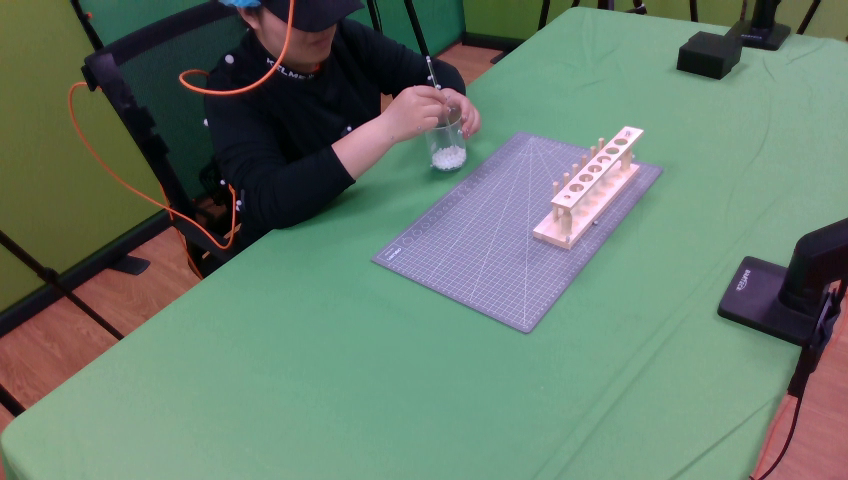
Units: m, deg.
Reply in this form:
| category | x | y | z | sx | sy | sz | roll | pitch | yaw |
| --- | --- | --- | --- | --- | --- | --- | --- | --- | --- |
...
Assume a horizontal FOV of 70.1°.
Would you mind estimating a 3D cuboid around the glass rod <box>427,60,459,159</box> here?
| category | x | y | z | sx | sy | sz | roll | pitch | yaw |
| --- | --- | --- | --- | --- | --- | --- | --- | --- | --- |
| glass rod | 0.035 | -0.228 | 1.080 | 0.008 | 0.201 | 0.008 | -13 | 38 | 10 |

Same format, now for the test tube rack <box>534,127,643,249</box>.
| category | x | y | z | sx | sy | sz | roll | pitch | yaw |
| --- | --- | --- | --- | --- | --- | --- | --- | --- | --- |
| test tube rack | 0.271 | -0.094 | 0.990 | 0.066 | 0.085 | 0.243 | 23 | 50 | 33 |

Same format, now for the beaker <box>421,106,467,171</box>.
| category | x | y | z | sx | sy | sz | roll | pitch | yaw |
| --- | --- | --- | --- | --- | --- | --- | --- | --- | --- |
| beaker | 0.041 | -0.187 | 1.119 | 0.073 | 0.101 | 0.084 | 7 | 45 | 21 |
